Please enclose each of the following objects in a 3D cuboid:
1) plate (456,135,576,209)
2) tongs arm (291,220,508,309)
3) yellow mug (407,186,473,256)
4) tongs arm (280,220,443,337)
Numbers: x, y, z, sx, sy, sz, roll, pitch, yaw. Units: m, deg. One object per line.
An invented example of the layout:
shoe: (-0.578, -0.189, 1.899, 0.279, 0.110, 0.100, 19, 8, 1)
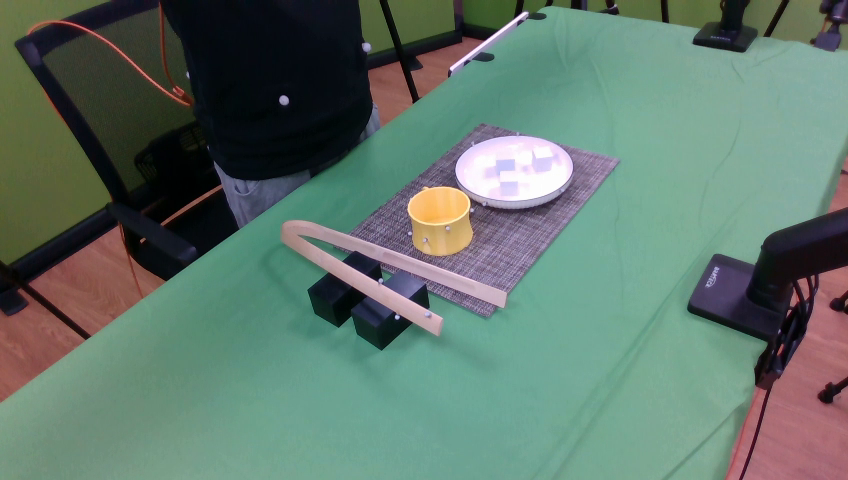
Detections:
plate: (0.161, -0.116, 1.064, 0.207, 0.039, 0.206, -4, 40, 4)
tongs arm: (-0.049, 0.031, 0.924, 0.385, 0.028, 0.028, 18, 25, 26)
yellow mug: (0.021, -0.041, 0.973, 0.100, 0.064, 0.129, -19, 41, -12)
tongs arm: (-0.101, 0.043, 0.861, 0.381, 0.026, 0.051, 24, 24, 38)
